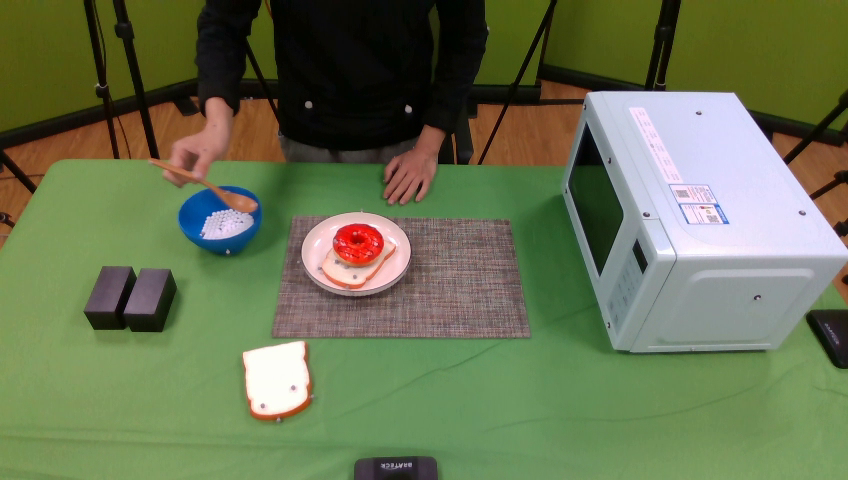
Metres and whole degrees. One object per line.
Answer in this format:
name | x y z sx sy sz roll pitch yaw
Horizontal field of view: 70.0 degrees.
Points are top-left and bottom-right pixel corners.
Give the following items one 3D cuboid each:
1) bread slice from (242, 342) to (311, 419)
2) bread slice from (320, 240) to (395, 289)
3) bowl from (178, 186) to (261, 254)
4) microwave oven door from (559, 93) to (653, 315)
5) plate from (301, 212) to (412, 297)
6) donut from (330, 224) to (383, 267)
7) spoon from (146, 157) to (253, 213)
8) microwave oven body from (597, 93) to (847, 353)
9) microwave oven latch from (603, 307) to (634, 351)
bread slice | -0.234 0.223 0.970 0.105 0.019 0.130 -10 46 -12
bread slice | -0.129 0.037 1.141 0.107 0.018 0.134 19 47 14
bowl | -0.383 -0.026 1.158 0.151 0.077 0.150 2 46 -2
microwave oven door | 0.327 -0.074 1.123 0.039 0.245 0.353 -1 46 -5
plate | -0.126 0.031 1.145 0.208 0.039 0.206 2 46 -2
donut | -0.125 0.010 1.127 0.099 0.048 0.098 3 45 -3
spoon | -0.382 -0.096 1.041 0.195 0.021 0.041 33 35 -38
microwave oven body | 0.475 -0.041 1.109 0.326 0.261 0.438 -1 45 -4
microwave oven latch | 0.332 0.153 1.044 0.030 0.029 0.078 0 45 -4
